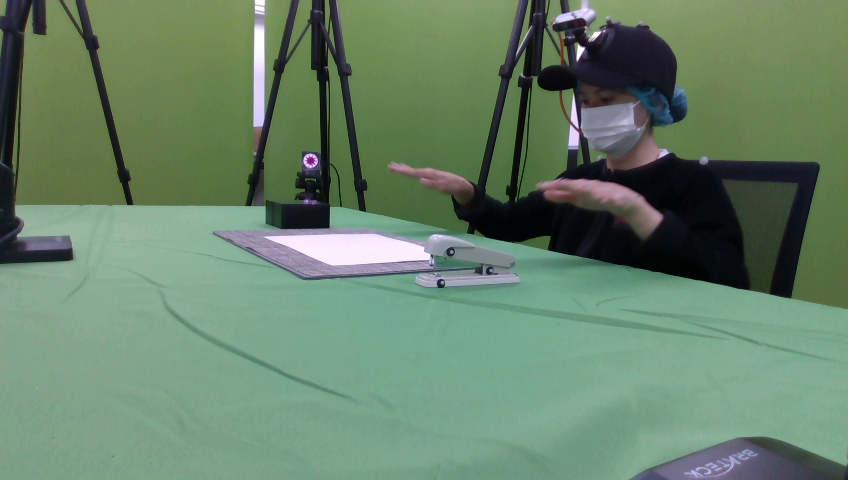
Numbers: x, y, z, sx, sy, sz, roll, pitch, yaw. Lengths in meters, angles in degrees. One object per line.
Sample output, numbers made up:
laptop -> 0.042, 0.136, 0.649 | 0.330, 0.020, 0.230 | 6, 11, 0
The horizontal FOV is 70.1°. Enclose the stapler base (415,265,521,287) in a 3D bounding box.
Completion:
stapler base -> 0.053, 0.039, 0.716 | 0.131, 0.024, 0.041 | 1, 9, -27

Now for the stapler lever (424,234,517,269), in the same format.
stapler lever -> 0.056, 0.014, 0.714 | 0.119, 0.040, 0.026 | 1, 9, -27
